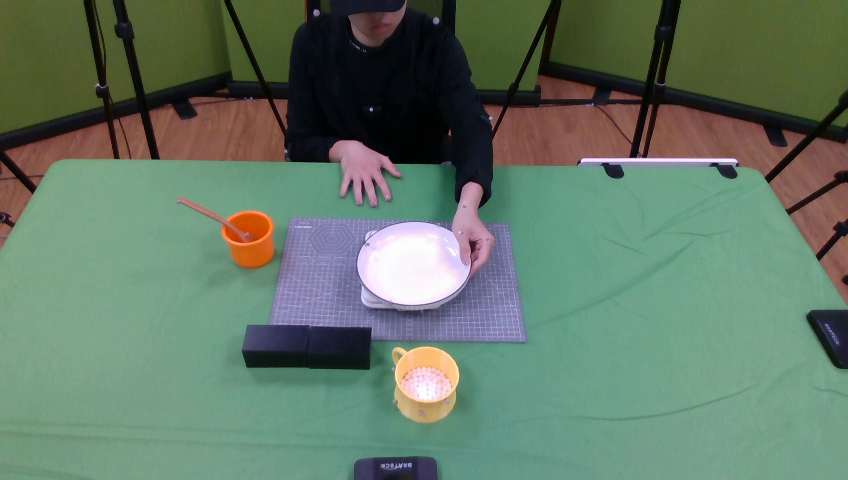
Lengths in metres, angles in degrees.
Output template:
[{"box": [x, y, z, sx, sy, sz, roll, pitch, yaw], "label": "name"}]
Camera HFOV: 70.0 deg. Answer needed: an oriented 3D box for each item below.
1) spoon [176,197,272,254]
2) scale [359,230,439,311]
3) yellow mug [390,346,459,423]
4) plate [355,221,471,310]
[{"box": [-0.362, -0.027, 1.108, 0.021, 0.195, 0.041, -35, 36, 24], "label": "spoon"}, {"box": [-0.043, 0.048, 1.137, 0.149, 0.032, 0.199, 2, 45, -3], "label": "scale"}, {"box": [-0.009, 0.217, 0.958, 0.100, 0.064, 0.130, -33, 56, -31], "label": "yellow mug"}, {"box": [-0.019, 0.048, 1.089, 0.209, 0.038, 0.208, 0, 45, 0], "label": "plate"}]
